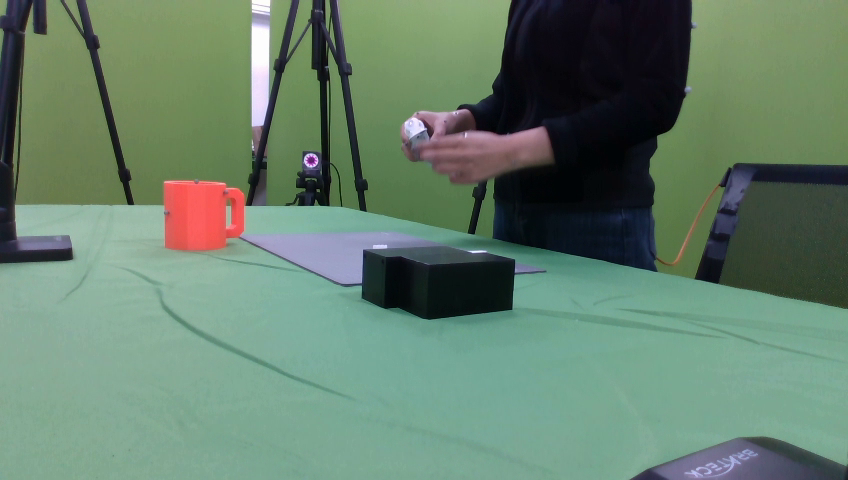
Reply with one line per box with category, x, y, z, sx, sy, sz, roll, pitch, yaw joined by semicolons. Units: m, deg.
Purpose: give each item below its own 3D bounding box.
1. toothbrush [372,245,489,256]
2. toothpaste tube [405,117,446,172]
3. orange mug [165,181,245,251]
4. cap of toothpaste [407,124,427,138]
toothbrush;0.012;0.016;0.875;0.183;0.016;0.014;1;-6;-22
toothpaste tube;0.002;-0.168;1.073;0.055;0.034;0.165;40;-5;24
orange mug;-0.326;-0.040;0.911;0.083;0.101;0.127;8;14;37
cap of toothpaste;-0.012;-0.178;0.985;0.037;0.011;0.037;-28;3;2
